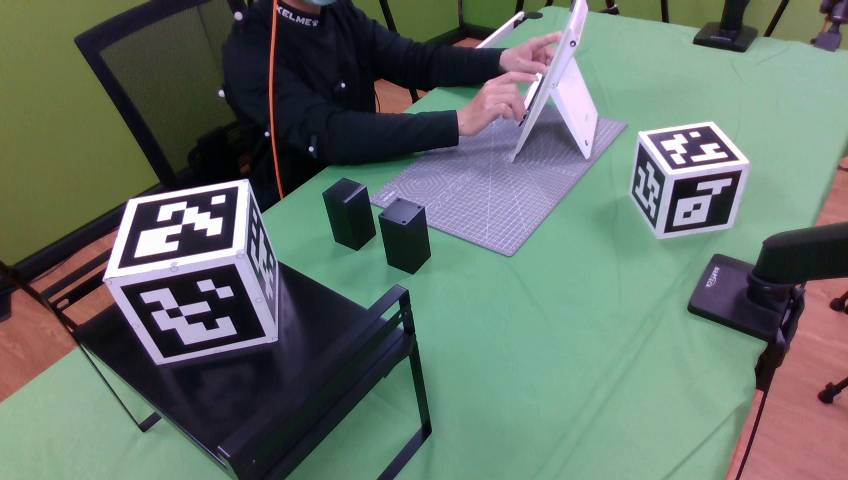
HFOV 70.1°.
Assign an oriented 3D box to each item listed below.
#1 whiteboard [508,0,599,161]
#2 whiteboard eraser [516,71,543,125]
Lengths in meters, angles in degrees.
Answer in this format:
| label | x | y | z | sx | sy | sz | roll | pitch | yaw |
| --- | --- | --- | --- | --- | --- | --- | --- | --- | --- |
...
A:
| label | x | y | z | sx | sy | sz | roll | pitch | yaw |
| --- | --- | --- | --- | --- | --- | --- | --- | --- | --- |
| whiteboard | 0.285 | -0.289 | 1.089 | 0.144 | 0.305 | 0.217 | 22 | 45 | 3 |
| whiteboard eraser | 0.195 | -0.263 | 1.120 | 0.019 | 0.101 | 0.041 | 20 | 22 | 0 |
